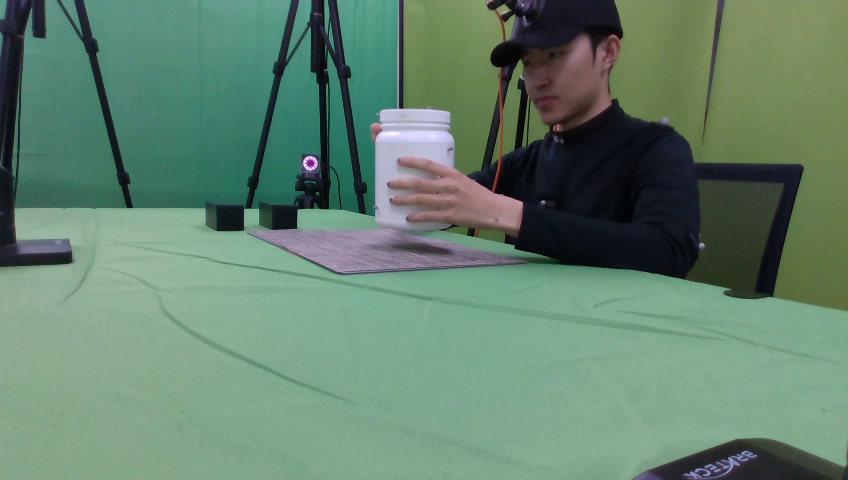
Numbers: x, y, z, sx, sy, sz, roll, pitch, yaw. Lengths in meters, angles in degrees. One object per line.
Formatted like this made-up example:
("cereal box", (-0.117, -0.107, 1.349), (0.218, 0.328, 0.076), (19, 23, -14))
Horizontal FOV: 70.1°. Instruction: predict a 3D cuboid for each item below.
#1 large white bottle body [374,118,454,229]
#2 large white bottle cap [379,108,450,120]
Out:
("large white bottle body", (-0.016, -0.116, 0.990), (0.131, 0.184, 0.130), (0, 9, 0))
("large white bottle cap", (-0.016, -0.202, 0.976), (0.115, 0.018, 0.115), (0, 9, 0))
